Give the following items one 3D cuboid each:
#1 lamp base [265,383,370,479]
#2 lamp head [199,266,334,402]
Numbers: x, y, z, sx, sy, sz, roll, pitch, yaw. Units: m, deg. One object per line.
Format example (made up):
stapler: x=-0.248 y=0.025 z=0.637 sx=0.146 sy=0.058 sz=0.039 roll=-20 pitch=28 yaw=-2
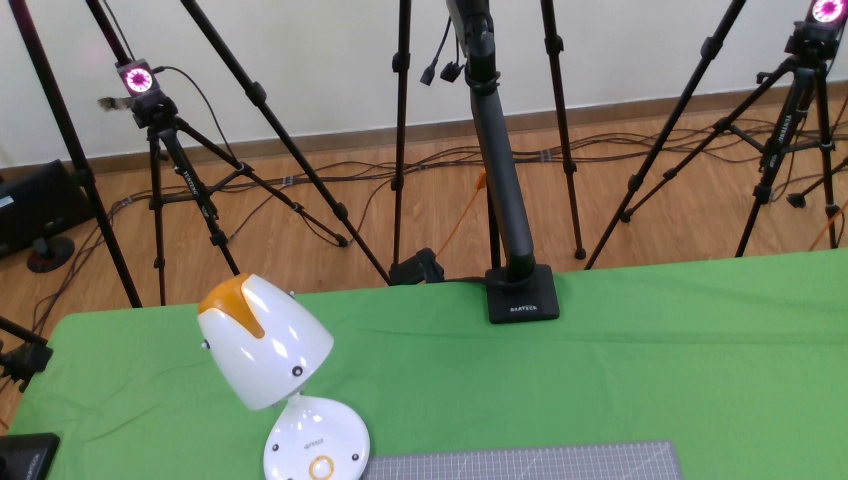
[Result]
lamp base: x=-0.176 y=0.248 z=0.863 sx=0.161 sy=0.182 sz=0.177 roll=-28 pitch=49 yaw=-15
lamp head: x=-0.172 y=0.086 z=0.628 sx=0.112 sy=0.123 sz=0.112 roll=-35 pitch=12 yaw=9
